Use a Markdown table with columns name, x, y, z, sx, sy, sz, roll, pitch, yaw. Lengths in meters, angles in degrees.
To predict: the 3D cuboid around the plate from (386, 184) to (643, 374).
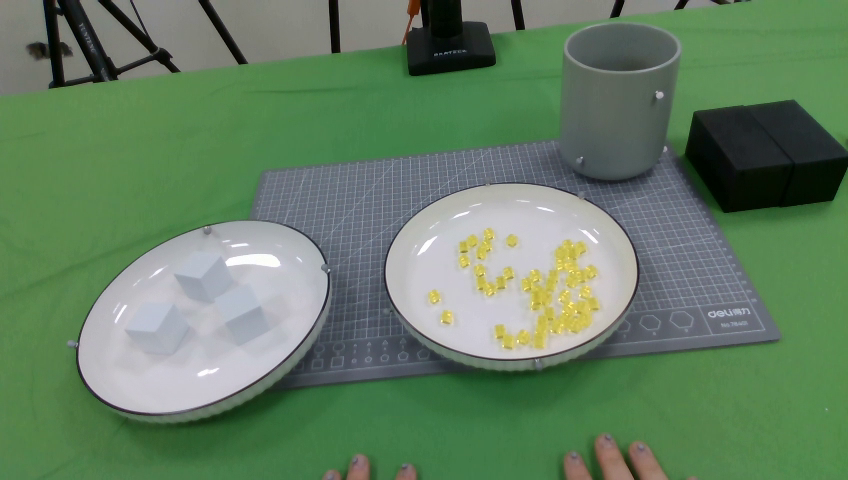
| name | x | y | z | sx | sy | sz | roll | pitch | yaw |
| --- | --- | --- | --- | --- | --- | --- | --- | --- | --- |
| plate | 0.073 | 0.030 | 0.510 | 0.207 | 0.039 | 0.205 | -4 | 42 | 4 |

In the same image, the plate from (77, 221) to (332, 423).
| name | x | y | z | sx | sy | sz | roll | pitch | yaw |
| --- | --- | --- | --- | --- | --- | --- | --- | --- | --- |
| plate | -0.177 | 0.065 | 0.511 | 0.209 | 0.038 | 0.207 | -5 | 42 | 5 |

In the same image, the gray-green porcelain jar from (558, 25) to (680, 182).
| name | x | y | z | sx | sy | sz | roll | pitch | yaw |
| --- | --- | --- | --- | --- | --- | --- | --- | --- | --- |
| gray-green porcelain jar | 0.187 | -0.130 | 0.599 | 0.106 | 0.128 | 0.105 | -5 | 42 | 5 |
